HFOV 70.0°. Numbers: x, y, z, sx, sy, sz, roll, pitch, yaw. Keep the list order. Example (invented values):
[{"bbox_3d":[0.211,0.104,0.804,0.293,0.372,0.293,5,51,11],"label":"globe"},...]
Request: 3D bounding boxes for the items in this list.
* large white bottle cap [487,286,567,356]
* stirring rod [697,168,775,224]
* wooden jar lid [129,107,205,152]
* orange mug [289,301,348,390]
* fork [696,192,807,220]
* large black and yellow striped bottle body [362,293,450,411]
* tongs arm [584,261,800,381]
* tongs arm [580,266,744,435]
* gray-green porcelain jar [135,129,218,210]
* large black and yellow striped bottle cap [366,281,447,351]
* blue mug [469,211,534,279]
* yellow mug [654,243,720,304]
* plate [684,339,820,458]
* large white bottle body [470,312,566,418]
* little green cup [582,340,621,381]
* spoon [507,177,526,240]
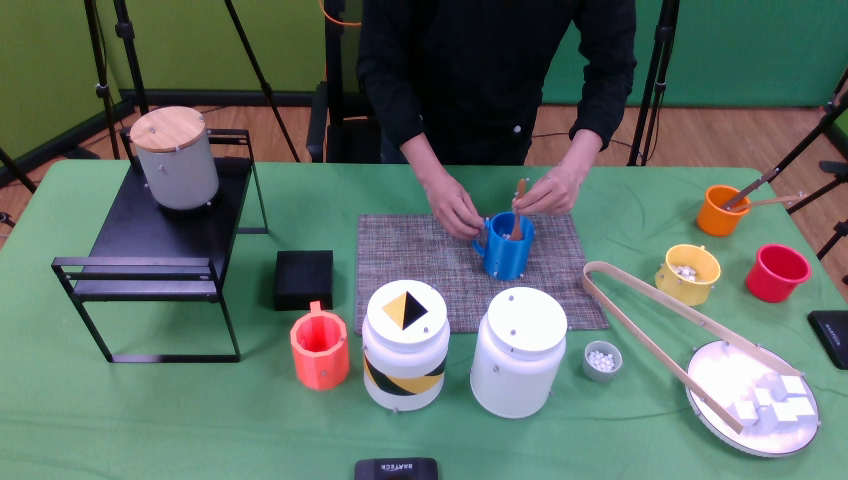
[{"bbox_3d":[0.147,0.114,0.869,0.115,0.018,0.114,3,46,-3],"label":"large white bottle cap"},{"bbox_3d":[0.644,-0.090,1.252,0.176,0.006,0.014,-39,53,16],"label":"stirring rod"},{"bbox_3d":[-0.385,-0.163,0.915,0.108,0.021,0.107,2,47,-2],"label":"wooden jar lid"},{"bbox_3d":[-0.170,0.162,0.976,0.083,0.101,0.125,-7,52,-12],"label":"orange mug"},{"bbox_3d":[0.655,-0.069,1.224,0.207,0.019,0.028,-17,33,45],"label":"fork"},{"bbox_3d":[-0.029,0.163,0.928,0.131,0.185,0.130,2,47,-2],"label":"large black and yellow striped bottle body"},{"bbox_3d":[0.452,0.137,1.064,0.051,0.027,0.382,-34,50,-27],"label":"tongs arm"},{"bbox_3d":[0.384,0.173,1.028,0.028,0.028,0.385,-25,46,-15],"label":"tongs arm"},{"bbox_3d":[-0.388,-0.120,0.960,0.106,0.127,0.105,2,46,-2],"label":"gray-green porcelain jar"},{"bbox_3d":[-0.025,0.106,0.866,0.115,0.019,0.114,2,46,-1],"label":"large black and yellow striped bottle cap"},{"bbox_3d":[0.140,0.005,1.140,0.116,0.106,0.082,18,48,14],"label":"blue mug"},{"bbox_3d":[0.504,0.054,1.154,0.099,0.064,0.130,28,49,22],"label":"yellow mug"},{"bbox_3d":[0.523,0.256,0.982,0.208,0.039,0.206,2,46,-2],"label":"plate"},{"bbox_3d":[0.143,0.173,0.930,0.131,0.185,0.130,2,46,-2],"label":"large white bottle body"},{"bbox_3d":[0.295,0.204,1.015,0.061,0.039,0.061,2,45,-2],"label":"little green cup"},{"bbox_3d":[0.167,-0.041,1.088,0.041,0.195,0.021,-1,46,3],"label":"spoon"}]
